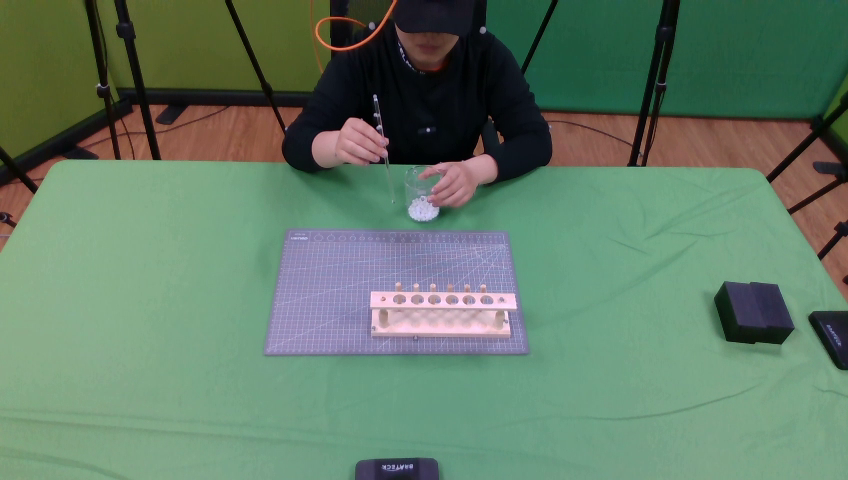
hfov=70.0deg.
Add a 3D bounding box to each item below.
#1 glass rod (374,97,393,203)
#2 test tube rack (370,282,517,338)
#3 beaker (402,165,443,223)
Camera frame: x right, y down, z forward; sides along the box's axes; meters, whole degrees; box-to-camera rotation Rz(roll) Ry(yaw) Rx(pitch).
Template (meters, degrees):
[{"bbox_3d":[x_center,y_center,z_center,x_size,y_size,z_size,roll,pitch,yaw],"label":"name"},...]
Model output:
[{"bbox_3d":[-0.071,-0.154,1.067,0.008,0.200,0.008,-6,31,4],"label":"glass rod"},{"bbox_3d":[0.030,0.117,1.041,0.242,0.085,0.066,1,46,-3],"label":"test tube rack"},{"bbox_3d":[-0.001,-0.092,1.229,0.084,0.101,0.073,-15,49,-12],"label":"beaker"}]
